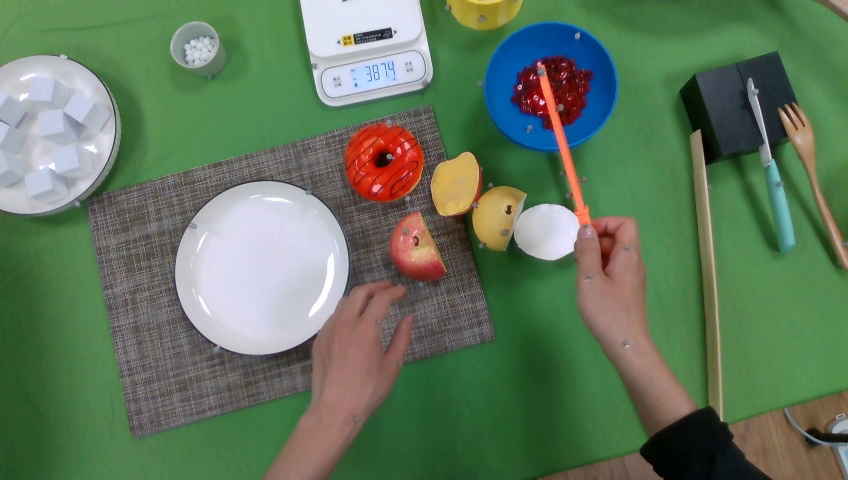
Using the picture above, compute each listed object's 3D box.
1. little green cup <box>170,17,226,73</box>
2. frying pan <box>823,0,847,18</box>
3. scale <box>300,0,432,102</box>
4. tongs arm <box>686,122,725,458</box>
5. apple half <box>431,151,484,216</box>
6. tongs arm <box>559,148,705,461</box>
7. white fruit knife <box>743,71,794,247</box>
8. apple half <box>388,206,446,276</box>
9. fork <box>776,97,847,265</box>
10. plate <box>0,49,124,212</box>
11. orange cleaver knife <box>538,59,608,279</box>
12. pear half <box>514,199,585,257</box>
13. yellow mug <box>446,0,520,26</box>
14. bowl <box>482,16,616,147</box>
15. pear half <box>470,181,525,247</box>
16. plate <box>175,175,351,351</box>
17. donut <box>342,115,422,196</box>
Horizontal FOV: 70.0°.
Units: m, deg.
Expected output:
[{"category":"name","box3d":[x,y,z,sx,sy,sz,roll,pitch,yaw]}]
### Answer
[{"category":"little green cup","box3d":[-0.282,-0.243,0.764,0.061,0.039,0.061,0,82,3]},{"category":"frying pan","box3d":[0.391,-0.359,0.711,0.307,0.103,0.485,-42,75,-1]},{"category":"scale","box3d":[-0.077,-0.282,0.762,0.148,0.031,0.200,-11,83,2]},{"category":"tongs arm","box3d":[0.323,0.052,0.706,0.028,0.028,0.386,0,83,-6]},{"category":"apple half","box3d":[0.047,-0.066,0.725,0.080,0.033,0.081,10,104,44]},{"category":"tongs arm","box3d":[0.238,0.068,0.703,0.051,0.026,0.383,-15,84,-5]},{"category":"white fruit knife","box3d":[0.391,-0.090,0.691,0.016,0.027,0.208,-18,97,1]},{"category":"apple half","box3d":[-0.013,0.007,0.699,0.053,0.075,0.080,-25,87,4]},{"category":"fork","box3d":[0.449,-0.066,0.693,0.028,0.018,0.208,-25,98,-3]},{"category":"plate","box3d":[-0.475,-0.135,0.761,0.207,0.039,0.207,0,83,3]},{"category":"orange cleaver knife","box3d":[0.141,-0.067,0.575,0.012,0.077,0.212,-16,105,18]},{"category":"pear half","box3d":[0.152,-0.011,0.717,0.087,0.031,0.070,10,81,19]},{"category":"yellow mug","box3d":[0.062,-0.335,0.744,0.130,0.064,0.100,42,87,8]},{"category":"bowl","box3d":[0.142,-0.174,0.715,0.151,0.077,0.151,0,84,3]},{"category":"pear half","box3d":[0.081,-0.036,0.685,0.056,0.110,0.076,17,79,5]},{"category":"plate","box3d":[-0.188,0.027,0.723,0.209,0.038,0.208,0,83,3]},{"category":"donut","box3d":[-0.051,-0.101,0.728,0.099,0.048,0.099,-1,84,6]}]
